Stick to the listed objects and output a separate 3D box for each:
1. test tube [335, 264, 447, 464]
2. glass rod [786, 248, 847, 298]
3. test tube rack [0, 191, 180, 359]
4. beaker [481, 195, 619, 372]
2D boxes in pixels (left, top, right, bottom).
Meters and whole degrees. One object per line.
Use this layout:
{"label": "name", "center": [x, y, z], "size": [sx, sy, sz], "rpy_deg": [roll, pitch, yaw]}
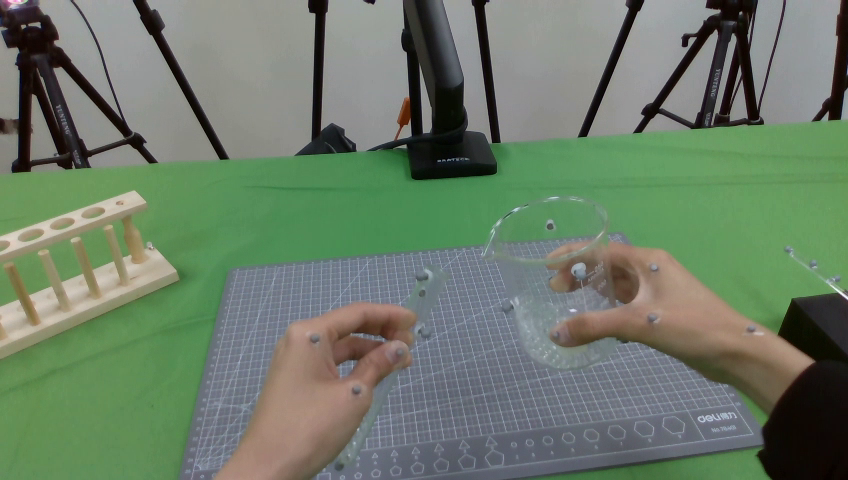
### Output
{"label": "test tube", "center": [-0.023, 0.081, 0.380], "size": [0.017, 0.150, 0.017], "rpy_deg": [23, 17, -7]}
{"label": "glass rod", "center": [0.380, 0.062, 0.507], "size": [0.008, 0.008, 0.197], "rpy_deg": [-11, 35, -12]}
{"label": "test tube rack", "center": [-0.375, 0.042, 0.585], "size": [0.242, 0.086, 0.066], "rpy_deg": [-27, 43, -32]}
{"label": "beaker", "center": [0.088, 0.032, 0.406], "size": [0.084, 0.101, 0.073], "rpy_deg": [-19, 31, -1]}
